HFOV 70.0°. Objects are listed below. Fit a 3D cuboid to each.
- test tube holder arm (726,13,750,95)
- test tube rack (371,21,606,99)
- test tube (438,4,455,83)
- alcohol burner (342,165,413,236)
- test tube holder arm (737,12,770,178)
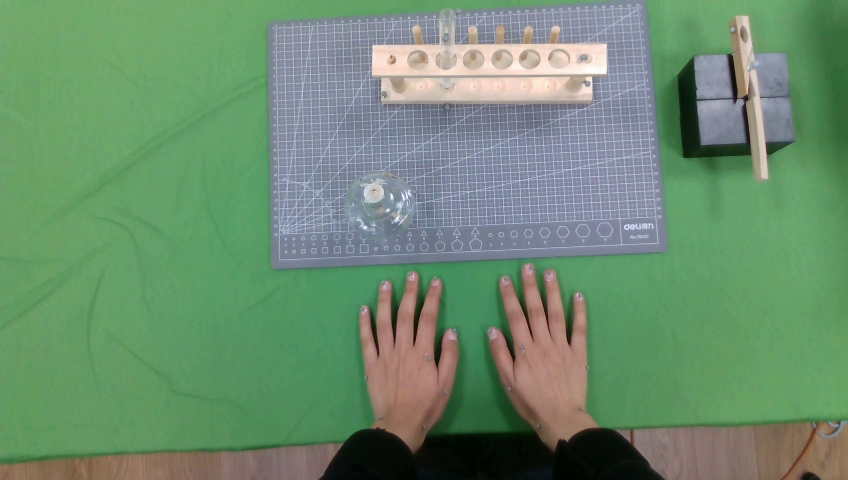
[{"bbox_3d":[0.336,-0.198,0.646,0.010,0.015,0.087,-6,84,-2],"label":"test tube holder arm"},{"bbox_3d":[0.068,-0.202,0.669,0.242,0.085,0.066,0,84,2],"label":"test tube rack"},{"bbox_3d":[0.022,-0.196,0.620,0.017,0.150,0.017,0,82,2],"label":"test tube"},{"bbox_3d":[-0.051,-0.045,0.642,0.078,0.119,0.077,0,82,1],"label":"alcohol burner"},{"bbox_3d":[0.347,-0.154,0.643,0.013,0.015,0.178,-7,85,-3],"label":"test tube holder arm"}]
